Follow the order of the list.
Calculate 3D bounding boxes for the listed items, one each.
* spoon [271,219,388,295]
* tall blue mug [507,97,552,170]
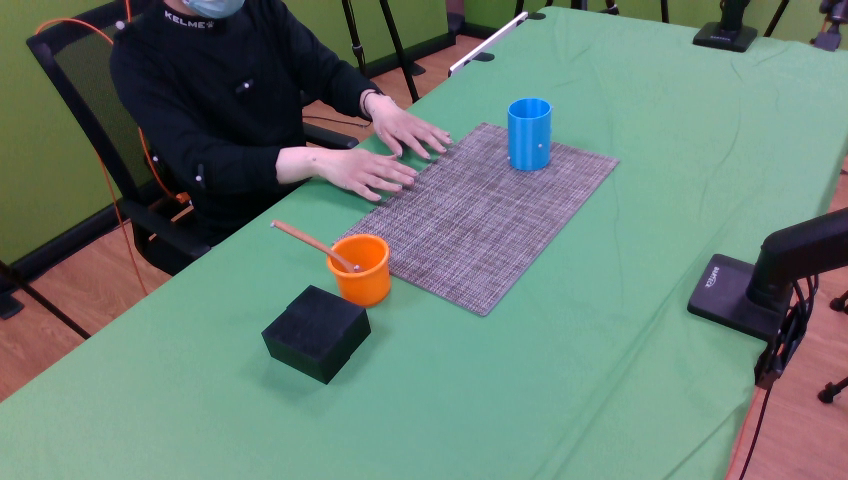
[{"bbox_3d":[-0.133,0.022,0.865,0.021,0.195,0.041,-35,27,40],"label":"spoon"},{"bbox_3d":[0.179,-0.198,1.101,0.078,0.108,0.106,-36,49,-28],"label":"tall blue mug"}]
